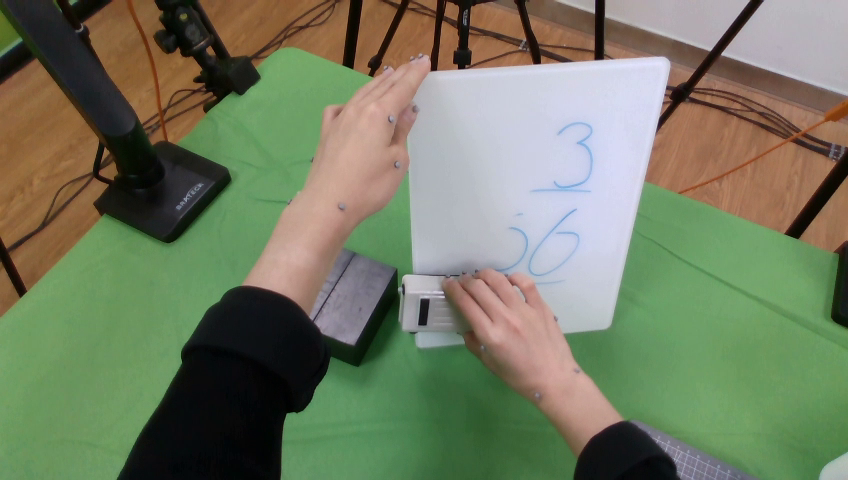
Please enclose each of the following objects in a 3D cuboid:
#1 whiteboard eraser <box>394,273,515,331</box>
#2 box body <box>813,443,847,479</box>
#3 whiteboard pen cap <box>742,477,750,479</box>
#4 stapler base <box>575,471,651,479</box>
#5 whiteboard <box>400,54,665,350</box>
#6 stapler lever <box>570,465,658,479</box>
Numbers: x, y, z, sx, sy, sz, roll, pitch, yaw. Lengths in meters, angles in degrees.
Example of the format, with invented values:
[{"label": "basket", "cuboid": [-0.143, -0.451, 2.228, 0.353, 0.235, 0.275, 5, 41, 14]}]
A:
[{"label": "whiteboard eraser", "cuboid": [0.029, 0.058, 0.586, 0.113, 0.056, 0.041, 1, 31, -11]}, {"label": "box body", "cuboid": [0.532, 0.281, 0.458, 0.254, 0.162, 0.360, -16, 58, -13]}, {"label": "whiteboard pen cap", "cuboid": [0.306, 0.239, 0.562, 0.018, 0.018, 0.033, -27, 60, -19]}, {"label": "stapler base", "cuboid": [0.151, 0.237, 0.555, 0.131, 0.024, 0.041, -7, 52, -3]}, {"label": "whiteboard", "cuboid": [0.084, -0.055, 0.619, 0.217, 0.308, 0.142, -5, 37, -5]}, {"label": "stapler lever", "cuboid": [0.149, 0.223, 0.535, 0.118, 0.040, 0.026, -7, 52, -3]}]
